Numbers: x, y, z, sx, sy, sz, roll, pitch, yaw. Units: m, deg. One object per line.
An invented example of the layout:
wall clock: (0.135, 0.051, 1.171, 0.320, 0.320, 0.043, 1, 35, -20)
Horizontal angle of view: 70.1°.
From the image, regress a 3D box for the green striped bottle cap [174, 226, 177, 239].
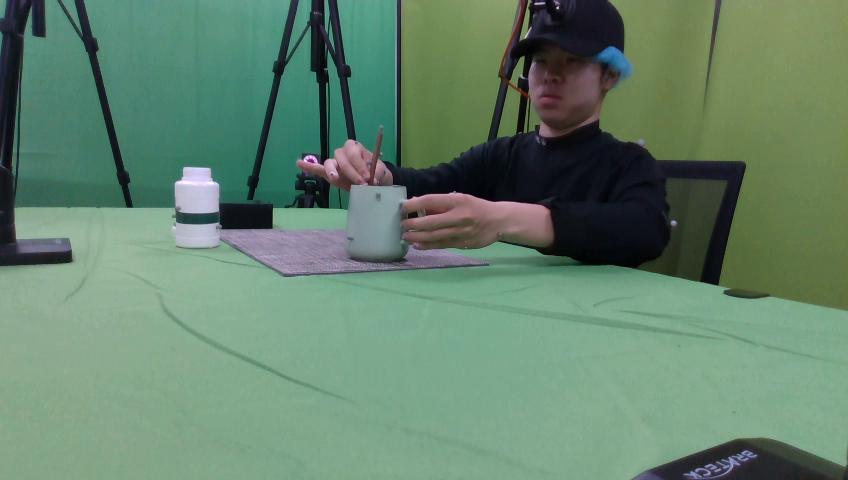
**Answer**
green striped bottle cap: (-0.405, -0.015, 1.036, 0.044, 0.020, 0.044, -1, 10, 0)

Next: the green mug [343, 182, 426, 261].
green mug: (-0.053, -0.026, 0.848, 0.125, 0.105, 0.093, 6, 8, 29)

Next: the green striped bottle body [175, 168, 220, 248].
green striped bottle body: (-0.345, -0.050, 0.924, 0.063, 0.119, 0.063, 2, 7, 0)

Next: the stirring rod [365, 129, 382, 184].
stirring rod: (-0.080, -0.069, 0.845, 0.006, 0.176, 0.014, 10, 3, -30)
